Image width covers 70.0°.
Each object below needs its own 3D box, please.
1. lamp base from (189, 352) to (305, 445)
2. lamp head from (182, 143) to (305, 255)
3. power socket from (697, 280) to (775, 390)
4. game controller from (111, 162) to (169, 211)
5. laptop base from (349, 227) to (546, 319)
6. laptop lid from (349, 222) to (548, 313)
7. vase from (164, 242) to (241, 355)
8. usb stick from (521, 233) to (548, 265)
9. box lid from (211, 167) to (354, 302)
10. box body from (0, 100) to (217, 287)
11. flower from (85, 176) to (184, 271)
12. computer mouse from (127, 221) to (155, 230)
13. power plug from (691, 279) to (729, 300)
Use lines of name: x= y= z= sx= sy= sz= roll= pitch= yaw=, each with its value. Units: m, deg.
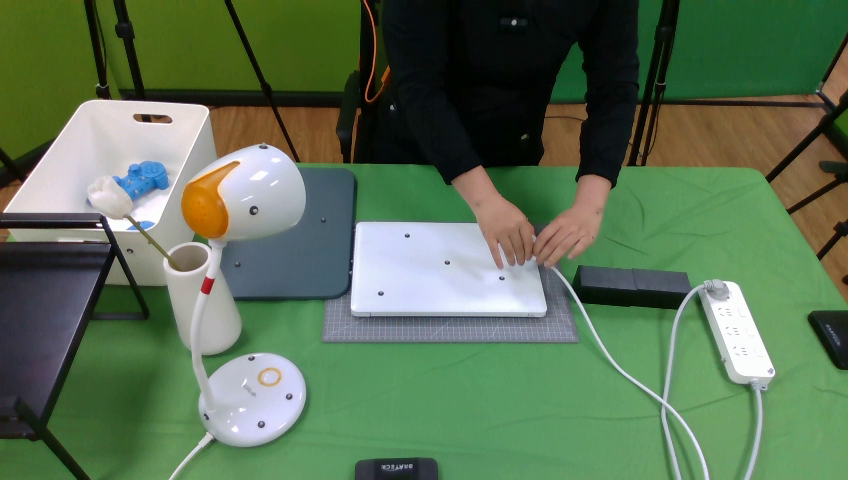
lamp base: x=-0.268 y=0.196 z=0.876 sx=0.160 sy=0.181 sz=0.179 roll=25 pitch=52 yaw=20
lamp head: x=-0.216 y=-0.044 z=0.697 sx=0.112 sy=0.113 sz=0.123 roll=23 pitch=31 yaw=17
power socket: x=0.550 y=0.159 z=1.079 sx=0.072 sy=0.033 sz=0.225 roll=3 pitch=46 yaw=-1
game controller: x=-0.597 y=-0.113 z=1.234 sx=0.097 sy=0.052 sz=0.155 roll=29 pitch=51 yaw=20
laptop base: x=0.040 y=0.057 z=1.150 sx=0.355 sy=0.023 sz=0.234 roll=1 pitch=43 yaw=-4
laptop lid: x=0.041 y=0.046 z=1.143 sx=0.357 sy=0.013 sz=0.240 roll=2 pitch=44 yaw=-3
vase: x=-0.349 y=0.096 z=0.954 sx=0.098 sy=0.201 sz=0.097 roll=3 pitch=47 yaw=-3
usb stick: x=0.197 y=0.015 z=1.100 sx=0.059 sy=0.027 sz=0.021 roll=57 pitch=29 yaw=7
box lid: x=-0.277 y=-0.024 z=1.205 sx=0.263 sy=0.015 sz=0.369 roll=0 pitch=46 yaw=-4
box body: x=-0.560 y=-0.092 z=1.145 sx=0.254 sy=0.161 sz=0.361 roll=3 pitch=46 yaw=-2
flower: x=-0.365 y=0.038 z=0.894 sx=0.038 sy=0.364 sz=0.044 roll=-5 pitch=53 yaw=15
computer mouse: x=-0.537 y=0.009 z=1.127 sx=0.062 sy=0.041 sz=0.117 roll=31 pitch=55 yaw=21
power plug: x=0.523 y=0.091 z=1.117 sx=0.072 sy=0.053 sz=0.035 roll=9 pitch=46 yaw=9
